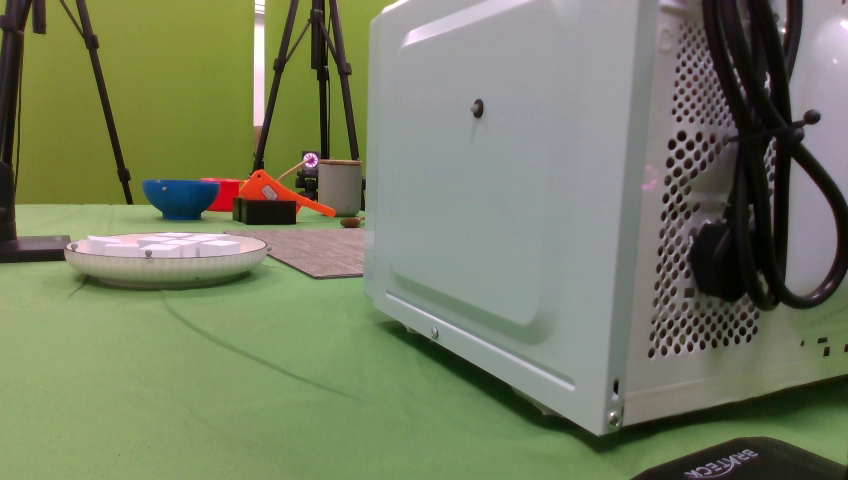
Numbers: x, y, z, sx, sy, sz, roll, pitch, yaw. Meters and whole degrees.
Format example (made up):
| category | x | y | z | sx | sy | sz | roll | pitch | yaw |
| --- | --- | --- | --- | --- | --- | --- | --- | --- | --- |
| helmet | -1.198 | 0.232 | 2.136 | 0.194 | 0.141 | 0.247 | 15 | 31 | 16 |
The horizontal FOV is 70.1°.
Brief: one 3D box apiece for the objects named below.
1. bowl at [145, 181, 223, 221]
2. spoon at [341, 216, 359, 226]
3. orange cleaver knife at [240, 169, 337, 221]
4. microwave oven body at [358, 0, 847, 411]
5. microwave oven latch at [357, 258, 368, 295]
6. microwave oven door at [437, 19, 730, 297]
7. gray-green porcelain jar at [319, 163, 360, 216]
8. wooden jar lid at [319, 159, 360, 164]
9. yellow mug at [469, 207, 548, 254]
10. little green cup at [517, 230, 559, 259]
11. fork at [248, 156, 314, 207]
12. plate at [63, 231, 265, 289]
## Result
| category | x | y | z | sx | sy | sz | roll | pitch | yaw |
| --- | --- | --- | --- | --- | --- | --- | --- | --- | --- |
| bowl | -0.499 | -0.081 | 1.261 | 0.151 | 0.077 | 0.151 | 2 | 7 | 0 |
| spoon | -0.132 | -0.048 | 1.305 | 0.041 | 0.021 | 0.194 | -14 | 4 | 14 |
| orange cleaver knife | -0.286 | -0.082 | 1.298 | 0.212 | 0.077 | 0.012 | 25 | -2 | -31 |
| microwave oven body | 0.210 | -0.051 | 0.471 | 0.444 | 0.260 | 0.324 | -1 | 7 | -28 |
| microwave oven latch | -0.019 | 0.031 | 0.529 | 0.079 | 0.029 | 0.030 | -1 | 7 | -26 |
| microwave oven door | 0.181 | -0.076 | 0.618 | 0.358 | 0.243 | 0.039 | -2 | 9 | -28 |
| gray-green porcelain jar | -0.204 | -0.126 | 1.490 | 0.106 | 0.126 | 0.106 | 2 | 8 | 0 |
| wooden jar lid | -0.203 | -0.189 | 1.482 | 0.108 | 0.020 | 0.108 | 2 | 9 | 0 |
| yellow mug | 0.136 | -0.016 | 0.950 | 0.131 | 0.064 | 0.099 | 2 | 5 | -19 |
| little green cup | 0.164 | 0.007 | 0.879 | 0.061 | 0.038 | 0.061 | 5 | 2 | 0 |
| fork | -0.360 | -0.147 | 1.523 | 0.207 | 0.019 | 0.028 | -43 | 17 | -6 |
| plate | -0.288 | 0.021 | 0.687 | 0.208 | 0.039 | 0.207 | 2 | 8 | 0 |
